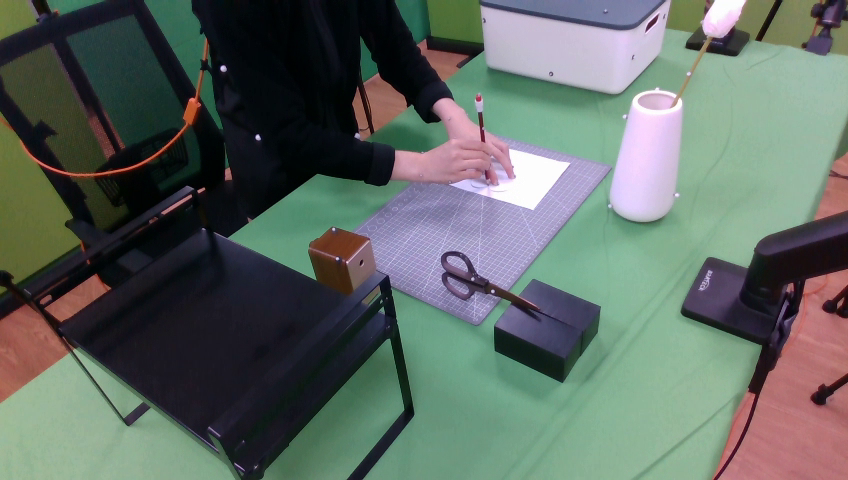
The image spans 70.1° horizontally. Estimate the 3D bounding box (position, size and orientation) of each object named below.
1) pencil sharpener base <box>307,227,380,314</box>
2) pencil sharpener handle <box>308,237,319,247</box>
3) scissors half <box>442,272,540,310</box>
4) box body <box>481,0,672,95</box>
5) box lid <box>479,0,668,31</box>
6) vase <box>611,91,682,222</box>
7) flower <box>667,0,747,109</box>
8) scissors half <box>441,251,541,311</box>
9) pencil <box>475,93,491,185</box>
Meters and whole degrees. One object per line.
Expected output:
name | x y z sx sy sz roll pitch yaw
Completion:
pencil sharpener base | -0.116 0.043 0.875 0.076 0.107 0.061 18 47 27
pencil sharpener handle | -0.159 0.017 0.892 0.030 0.068 0.036 18 61 28
scissors half | 0.089 0.074 0.833 0.013 0.040 0.173 -24 23 -38
box body | 0.341 -0.480 1.381 0.361 0.161 0.255 22 48 30
box lid | 0.335 -0.536 1.331 0.368 0.015 0.264 23 49 30
vase | 0.348 -0.125 0.935 0.098 0.201 0.097 -3 40 3
flower | 0.354 -0.187 0.879 0.038 0.362 0.044 30 48 14
scissors half | 0.087 0.056 0.824 0.173 0.040 0.013 29 44 36
pencil | 0.101 -0.163 1.012 0.012 0.195 0.012 -6 48 8
